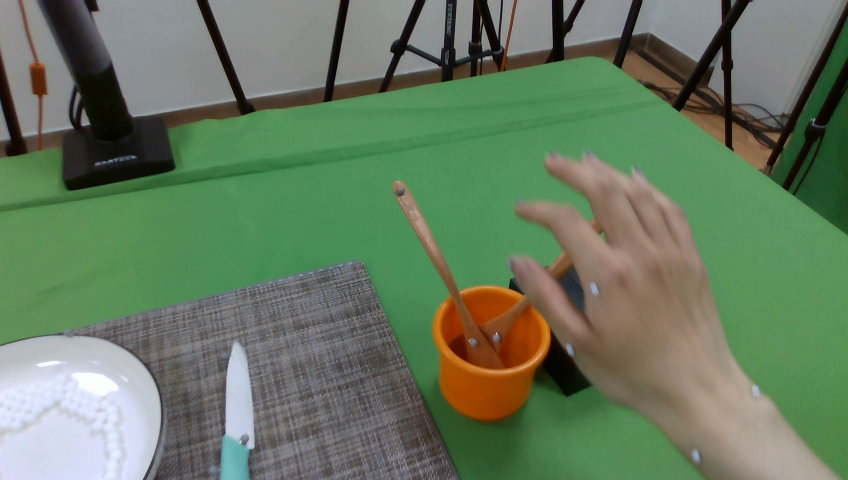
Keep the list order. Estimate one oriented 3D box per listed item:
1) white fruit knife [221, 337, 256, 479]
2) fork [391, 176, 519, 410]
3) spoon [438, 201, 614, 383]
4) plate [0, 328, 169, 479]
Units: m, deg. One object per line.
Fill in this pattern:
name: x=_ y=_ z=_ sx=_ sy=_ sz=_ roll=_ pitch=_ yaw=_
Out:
white fruit knife: x=-0.139 y=0.151 z=0.455 sx=0.027 sy=0.016 sz=0.205 roll=17 pitch=32 yaw=-30
fork: x=0.023 y=0.042 z=0.487 sx=0.028 sy=0.018 sz=0.207 roll=-27 pitch=94 yaw=-14
spoon: x=0.082 y=0.043 z=0.484 sx=0.041 sy=0.194 sz=0.021 roll=43 pitch=16 yaw=2
plate: x=-0.286 y=0.154 z=0.426 sx=0.209 sy=0.038 sz=0.207 roll=2 pitch=42 yaw=-1
